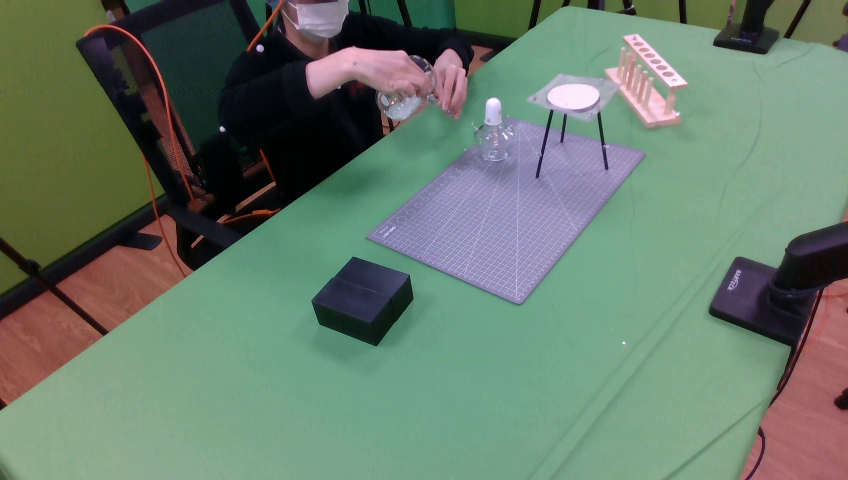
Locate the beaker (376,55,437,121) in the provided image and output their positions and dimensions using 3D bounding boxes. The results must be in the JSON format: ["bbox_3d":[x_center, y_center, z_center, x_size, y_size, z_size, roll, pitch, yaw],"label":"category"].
[{"bbox_3d":[-0.030,-0.254,1.028,0.073,0.084,0.100,4,43,31],"label":"beaker"}]

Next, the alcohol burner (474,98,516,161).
[{"bbox_3d":[0.131,-0.208,1.121,0.078,0.119,0.077,-5,40,5],"label":"alcohol burner"}]

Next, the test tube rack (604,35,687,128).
[{"bbox_3d":[0.447,-0.330,1.241,0.067,0.085,0.241,-9,41,-2],"label":"test tube rack"}]

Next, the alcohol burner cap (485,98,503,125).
[{"bbox_3d":[0.126,-0.234,1.097,0.034,0.048,0.033,-3,39,3],"label":"alcohol burner cap"}]

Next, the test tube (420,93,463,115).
[{"bbox_3d":[0.036,-0.256,1.144,0.017,0.017,0.151,20,10,28],"label":"test tube"}]

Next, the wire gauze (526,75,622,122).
[{"bbox_3d":[0.255,-0.248,1.030,0.124,0.011,0.122,24,51,32],"label":"wire gauze"}]

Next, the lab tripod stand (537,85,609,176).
[{"bbox_3d":[0.259,-0.192,1.068,0.148,0.132,0.147,-4,42,4],"label":"lab tripod stand"}]
